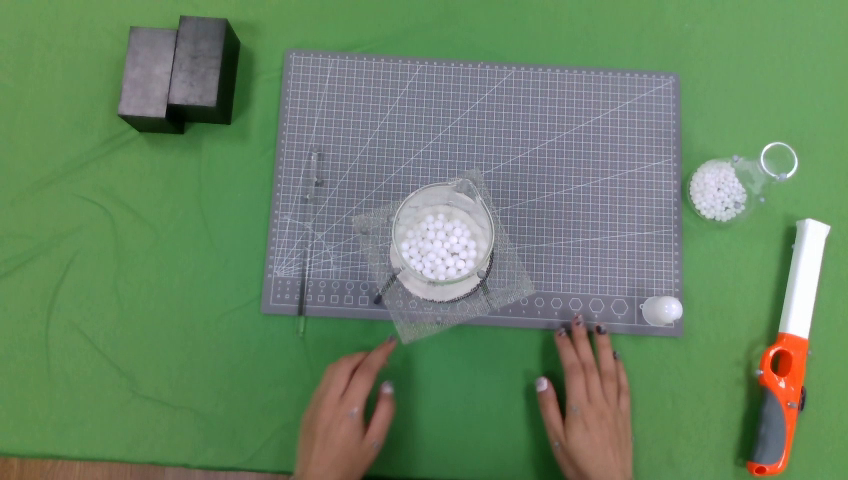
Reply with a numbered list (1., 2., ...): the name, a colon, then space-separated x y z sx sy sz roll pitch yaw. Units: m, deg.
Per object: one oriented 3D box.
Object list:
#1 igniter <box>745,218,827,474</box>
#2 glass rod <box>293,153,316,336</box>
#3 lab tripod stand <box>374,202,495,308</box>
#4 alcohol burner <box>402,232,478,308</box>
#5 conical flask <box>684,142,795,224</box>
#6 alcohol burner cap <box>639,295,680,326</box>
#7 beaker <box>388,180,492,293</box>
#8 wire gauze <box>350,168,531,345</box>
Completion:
1. igniter: 0.384 0.111 0.640 0.057 0.025 0.275 18 81 -8
2. glass rod: -0.128 0.003 0.652 0.008 0.008 0.199 4 84 -1
3. lab tripod stand: 0.012 0.024 0.589 0.148 0.132 0.148 0 82 -1
4. alcohol burner: 0.016 0.026 0.598 0.078 0.119 0.077 0 79 1
5. conical flask: 0.325 -0.063 0.619 0.075 0.122 0.075 0 80 0
6. alcohol burner cap: 0.249 0.072 0.632 0.034 0.048 0.033 0 80 -1
7. beaker: 0.013 0.001 0.477 0.074 0.100 0.084 25 81 3
8. wire gauze: 0.014 0.013 0.524 0.125 0.011 0.121 -22 84 -6
